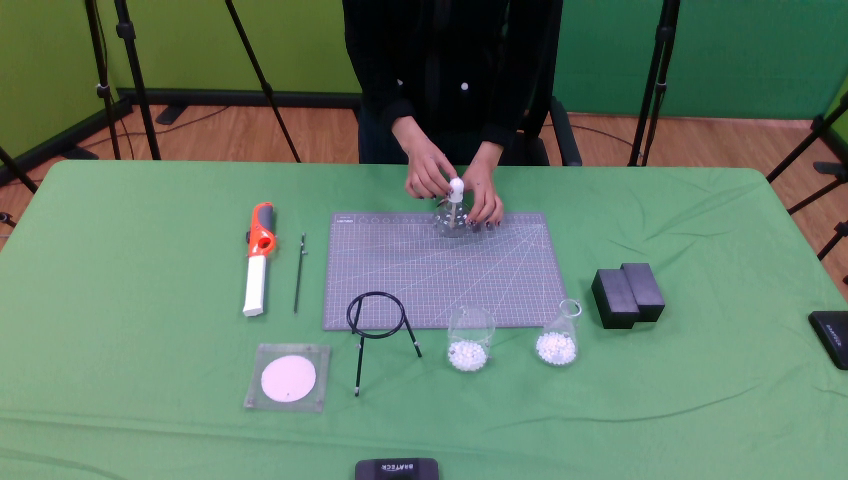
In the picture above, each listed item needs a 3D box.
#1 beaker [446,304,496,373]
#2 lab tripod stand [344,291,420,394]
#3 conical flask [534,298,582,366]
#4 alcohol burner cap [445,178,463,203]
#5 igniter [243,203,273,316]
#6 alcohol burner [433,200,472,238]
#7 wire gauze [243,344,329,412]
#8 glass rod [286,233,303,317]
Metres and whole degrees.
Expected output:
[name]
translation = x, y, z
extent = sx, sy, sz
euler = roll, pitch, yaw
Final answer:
[beaker]
translation = 0.072, 0.166, 0.992
extent = 0.084, 0.101, 0.073
euler = -21, 51, -22
[lab tripod stand]
translation = -0.075, 0.155, 0.967
extent = 0.148, 0.132, 0.147
euler = 3, 44, -3
[conical flask]
translation = 0.229, 0.149, 1.005
extent = 0.075, 0.122, 0.075
euler = 2, 46, -2
[alcohol burner cap]
translation = 0.059, -0.097, 1.155
extent = 0.034, 0.048, 0.033
euler = 4, 49, -4
[igniter]
translation = -0.315, 0.027, 1.145
extent = 0.057, 0.025, 0.274
euler = -10, 47, 0
[alcohol burner]
translation = 0.057, -0.062, 1.197
extent = 0.078, 0.120, 0.077
euler = 1, 47, -1
[wire gauze]
translation = -0.221, 0.219, 0.981
extent = 0.125, 0.011, 0.120
euler = 2, 45, 0
[glass rod]
translation = -0.242, 0.061, 1.135
extent = 0.008, 0.008, 0.198
euler = 2, 47, -2
